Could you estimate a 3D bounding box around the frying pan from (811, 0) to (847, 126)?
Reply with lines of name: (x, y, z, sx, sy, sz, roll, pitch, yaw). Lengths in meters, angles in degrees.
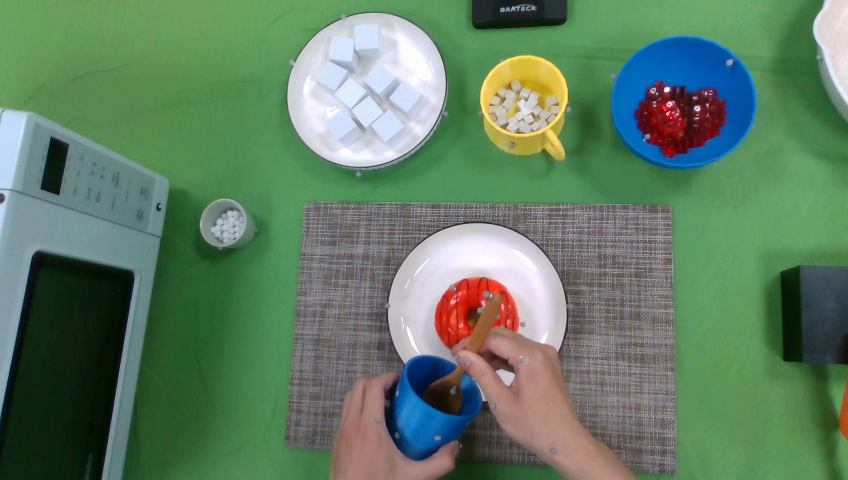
frying pan: (0.556, -0.112, 0.628, 0.306, 0.103, 0.485, 6, 74, 11)

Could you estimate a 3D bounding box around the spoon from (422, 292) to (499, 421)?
spoon: (0.034, 0.115, 0.567, 0.041, 0.195, 0.021, 22, 44, 0)

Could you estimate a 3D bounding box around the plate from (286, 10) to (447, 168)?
plate: (-0.071, -0.189, 0.773, 0.207, 0.039, 0.207, -2, 80, 9)

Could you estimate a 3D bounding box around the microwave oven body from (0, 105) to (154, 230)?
microwave oven body: (-0.532, 0.094, 0.680, 0.325, 0.261, 0.440, 4, 82, 9)

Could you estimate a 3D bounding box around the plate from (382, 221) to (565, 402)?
plate: (0.056, 0.081, 0.704, 0.209, 0.038, 0.208, -1, 81, 9)

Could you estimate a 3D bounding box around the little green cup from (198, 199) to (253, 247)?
little green cup: (-0.251, -0.019, 0.772, 0.061, 0.039, 0.061, -1, 82, 8)

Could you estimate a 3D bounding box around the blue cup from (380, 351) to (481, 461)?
blue cup: (-0.002, 0.175, 0.612, 0.093, 0.101, 0.091, 15, 44, -15)

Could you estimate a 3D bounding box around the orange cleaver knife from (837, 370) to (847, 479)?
orange cleaver knife: (0.435, 0.187, 0.608, 0.012, 0.077, 0.212, 1, 109, 10)

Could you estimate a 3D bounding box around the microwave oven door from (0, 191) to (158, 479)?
microwave oven door: (-0.395, 0.146, 0.644, 0.039, 0.245, 0.354, 4, 81, 10)

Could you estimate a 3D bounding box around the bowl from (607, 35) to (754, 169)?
bowl: (0.282, -0.145, 0.690, 0.151, 0.077, 0.151, -1, 81, 9)

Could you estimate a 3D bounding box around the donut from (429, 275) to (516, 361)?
donut: (0.055, 0.088, 0.692, 0.099, 0.048, 0.099, -1, 84, 10)

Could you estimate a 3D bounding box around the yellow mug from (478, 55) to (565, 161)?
yellow mug: (0.125, -0.148, 0.722, 0.100, 0.064, 0.130, -35, 78, 1)

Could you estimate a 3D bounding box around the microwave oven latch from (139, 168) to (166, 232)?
microwave oven latch: (-0.354, -0.052, 0.775, 0.030, 0.029, 0.079, 8, 82, 10)
